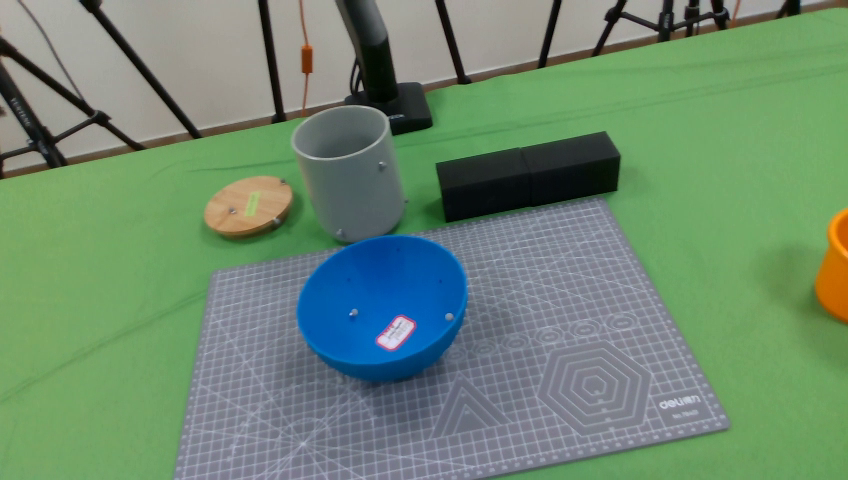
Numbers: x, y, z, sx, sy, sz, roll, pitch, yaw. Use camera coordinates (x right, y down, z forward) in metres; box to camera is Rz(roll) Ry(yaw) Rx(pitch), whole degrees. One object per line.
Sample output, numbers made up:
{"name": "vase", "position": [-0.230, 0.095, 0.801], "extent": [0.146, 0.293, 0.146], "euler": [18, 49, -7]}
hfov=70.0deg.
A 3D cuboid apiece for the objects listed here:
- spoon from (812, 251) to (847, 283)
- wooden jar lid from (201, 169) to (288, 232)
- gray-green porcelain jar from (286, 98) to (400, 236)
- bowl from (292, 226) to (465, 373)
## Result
{"name": "spoon", "position": [0.410, 0.000, 0.479], "extent": [0.022, 0.193, 0.041], "euler": [45, 55, -7]}
{"name": "wooden jar lid", "position": [-0.220, -0.048, 0.749], "extent": [0.108, 0.021, 0.107], "euler": [-4, 44, 4]}
{"name": "gray-green porcelain jar", "position": [-0.085, -0.077, 0.674], "extent": [0.106, 0.128, 0.105], "euler": [-6, 43, 6]}
{"name": "bowl", "position": [-0.034, 0.066, 0.546], "extent": [0.151, 0.077, 0.150], "euler": [-6, 43, 6]}
